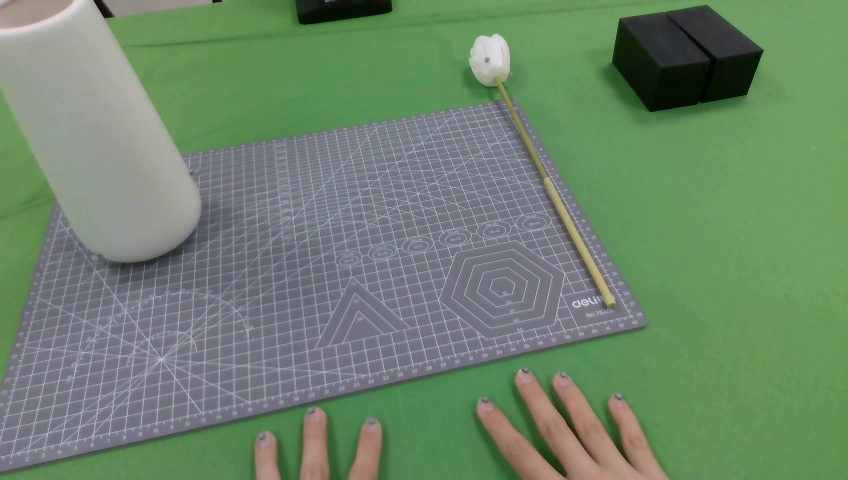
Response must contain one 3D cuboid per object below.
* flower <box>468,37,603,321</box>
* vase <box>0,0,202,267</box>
[{"bbox_3d":[0.098,-0.077,0.558,0.044,0.038,0.357,-31,48,20],"label":"flower"},{"bbox_3d":[-0.237,-0.073,0.446,0.098,0.202,0.097,-1,45,2],"label":"vase"}]
